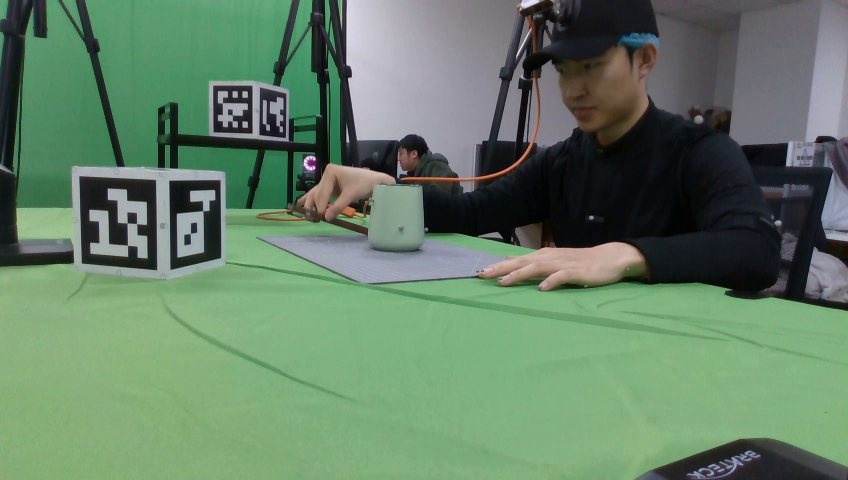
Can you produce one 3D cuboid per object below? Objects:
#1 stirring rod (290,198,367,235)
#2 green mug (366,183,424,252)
[{"bbox_3d":[-0.167,-0.042,1.088,0.006,0.014,0.177,-1,-18,45],"label":"stirring rod"},{"bbox_3d":[-0.054,-0.039,0.989,0.093,0.105,0.124,-1,8,-29],"label":"green mug"}]
